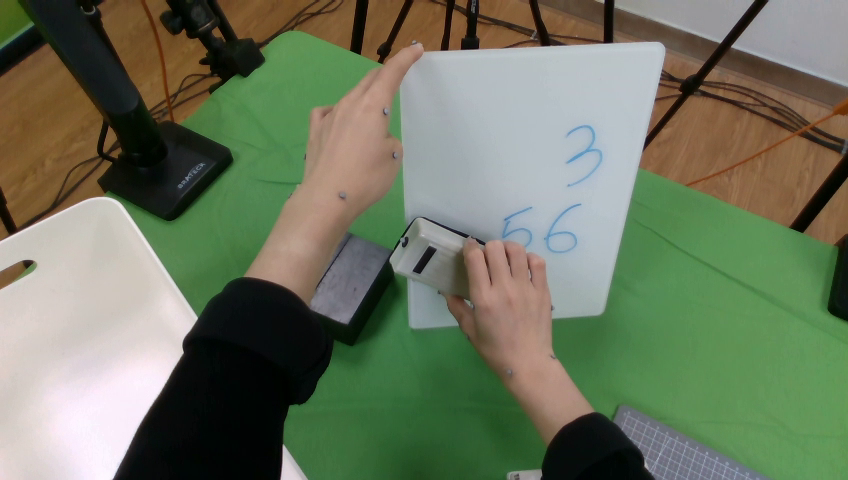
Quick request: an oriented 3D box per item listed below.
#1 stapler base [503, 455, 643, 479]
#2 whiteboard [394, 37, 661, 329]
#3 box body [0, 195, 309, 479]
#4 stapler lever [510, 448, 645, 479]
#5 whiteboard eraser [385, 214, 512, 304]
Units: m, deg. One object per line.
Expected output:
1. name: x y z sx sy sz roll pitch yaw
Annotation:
1. stapler base: 0.140 0.222 0.561 0.130 0.024 0.041 -5 53 -2
2. whiteboard: 0.080 -0.073 0.620 0.217 0.308 0.142 -3 38 -4
3. box body: -0.272 0.175 0.494 0.254 0.161 0.361 -34 64 -21
4. stapler lever: 0.138 0.208 0.540 0.118 0.040 0.026 -5 53 -2
5. whiteboard eraser: 0.024 0.018 0.574 0.113 0.056 0.041 22 23 -24
